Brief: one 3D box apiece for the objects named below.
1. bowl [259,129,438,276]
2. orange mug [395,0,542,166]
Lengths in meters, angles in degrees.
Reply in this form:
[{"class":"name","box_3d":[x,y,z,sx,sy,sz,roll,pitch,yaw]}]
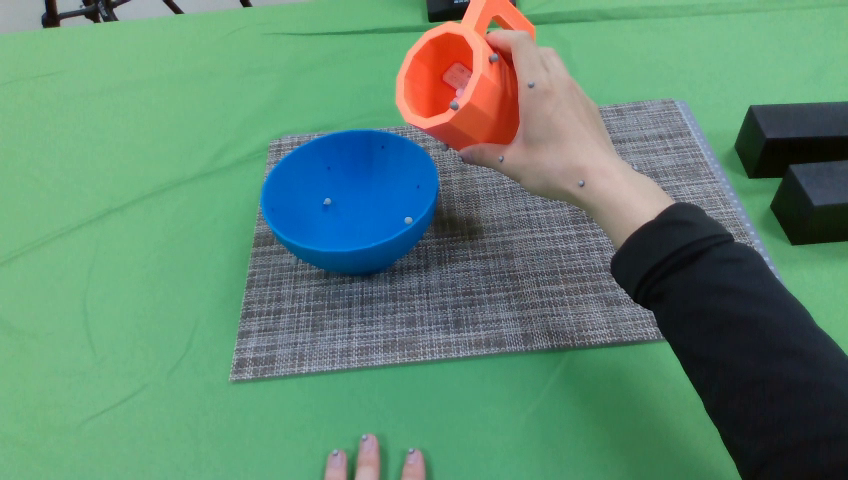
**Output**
[{"class":"bowl","box_3d":[-0.060,-0.021,0.534,0.151,0.077,0.150,-3,48,4]},{"class":"orange mug","box_3d":[0.044,-0.134,0.503,0.082,0.101,0.126,28,101,41]}]
